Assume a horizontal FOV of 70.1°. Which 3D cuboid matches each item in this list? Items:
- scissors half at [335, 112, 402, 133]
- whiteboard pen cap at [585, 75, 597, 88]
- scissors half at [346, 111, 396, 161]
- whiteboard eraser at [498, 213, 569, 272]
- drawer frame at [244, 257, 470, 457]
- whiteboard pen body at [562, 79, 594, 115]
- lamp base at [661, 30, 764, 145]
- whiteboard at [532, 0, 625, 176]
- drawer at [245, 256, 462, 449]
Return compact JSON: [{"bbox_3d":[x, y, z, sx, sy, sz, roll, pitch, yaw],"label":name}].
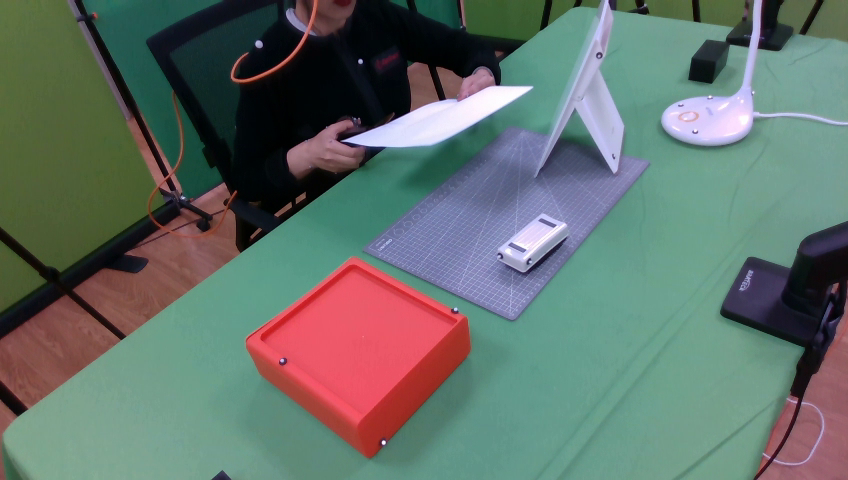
[{"bbox_3d":[-0.108,-0.220,1.147,0.174,0.040,0.013,14,31,37],"label":"scissors half"},{"bbox_3d":[0.362,-0.343,1.310,0.018,0.018,0.033,19,54,29],"label":"whiteboard pen cap"},{"bbox_3d":[-0.099,-0.198,1.152,0.040,0.174,0.013,53,48,-1],"label":"scissors half"},{"bbox_3d":[0.168,0.006,0.923,0.113,0.042,0.055,-36,48,-28],"label":"whiteboard eraser"},{"bbox_3d":[-0.084,0.138,0.788,0.212,0.083,0.202,25,50,33],"label":"drawer frame"},{"bbox_3d":[0.328,-0.306,1.277,0.017,0.017,0.141,20,52,30],"label":"whiteboard pen body"},{"bbox_3d":[0.535,-0.287,1.096,0.179,0.181,0.159,-10,40,-4],"label":"lamp base"},{"bbox_3d":[0.320,-0.259,1.050,0.144,0.306,0.217,21,45,5],"label":"whiteboard"},{"bbox_3d":[-0.089,0.136,0.792,0.210,0.073,0.195,26,51,34],"label":"drawer"}]
